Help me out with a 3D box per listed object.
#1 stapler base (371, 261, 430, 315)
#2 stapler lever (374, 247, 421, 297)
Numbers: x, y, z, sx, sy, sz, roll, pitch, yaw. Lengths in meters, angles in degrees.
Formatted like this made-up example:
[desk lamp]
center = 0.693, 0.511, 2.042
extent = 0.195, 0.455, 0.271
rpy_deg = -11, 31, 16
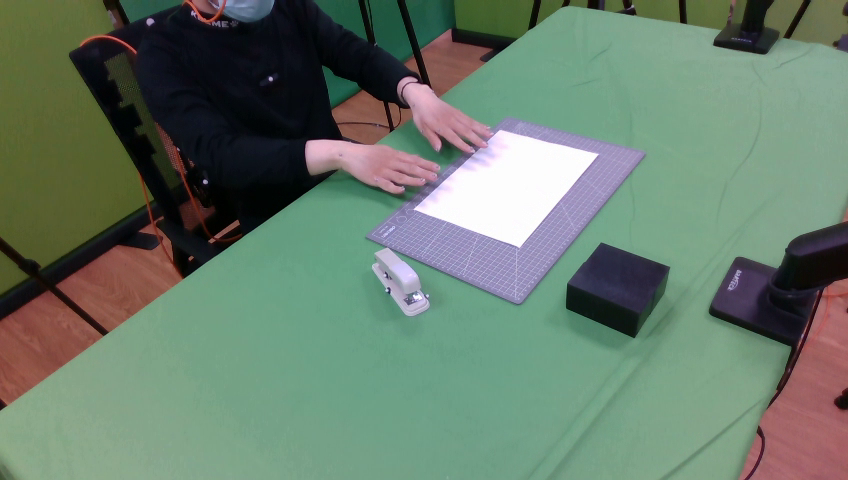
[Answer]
[stapler base]
center = -0.037, 0.061, 0.904
extent = 0.041, 0.024, 0.129
rpy_deg = -21, 41, -20
[stapler lever]
center = -0.040, 0.041, 0.889
extent = 0.027, 0.040, 0.117
rpy_deg = -21, 41, -20
